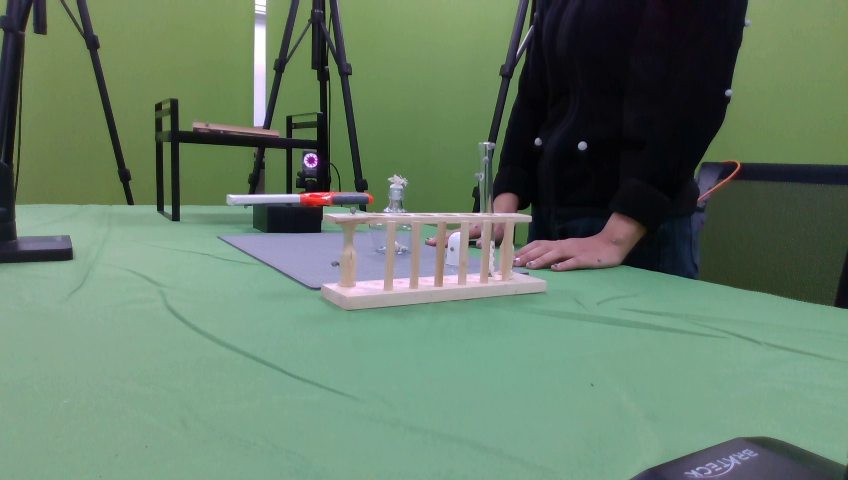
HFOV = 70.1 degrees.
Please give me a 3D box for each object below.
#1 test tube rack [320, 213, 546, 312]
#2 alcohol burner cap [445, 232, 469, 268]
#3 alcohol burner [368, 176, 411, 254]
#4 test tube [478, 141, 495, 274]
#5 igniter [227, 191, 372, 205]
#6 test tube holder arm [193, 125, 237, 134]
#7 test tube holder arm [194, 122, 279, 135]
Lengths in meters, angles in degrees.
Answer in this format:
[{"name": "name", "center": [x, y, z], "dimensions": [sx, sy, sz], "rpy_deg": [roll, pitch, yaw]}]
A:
[{"name": "test tube rack", "center": [0.018, 0.017, 0.638], "dimensions": [0.244, 0.085, 0.066], "rpy_deg": [-2, 9, -31]}, {"name": "alcohol burner cap", "center": [0.045, 0.013, 0.829], "dimensions": [0.034, 0.048, 0.034], "rpy_deg": [2, 8, 0]}, {"name": "alcohol burner", "center": [-0.045, -0.038, 0.913], "dimensions": [0.078, 0.119, 0.078], "rpy_deg": [4, 7, 0]}, {"name": "test tube", "center": [0.071, -0.036, 0.683], "dimensions": [0.017, 0.150, 0.017], "rpy_deg": [-2, 8, 1]}, {"name": "igniter", "center": [-0.232, -0.080, 1.162], "dimensions": [0.278, 0.025, 0.057], "rpy_deg": [-3, 12, -28]}, {"name": "test tube holder arm", "center": [-0.443, -0.235, 1.284], "dimensions": [0.088, 0.015, 0.010], "rpy_deg": [-2, -21, -28]}, {"name": "test tube holder arm", "center": [-0.401, -0.238, 1.301], "dimensions": [0.179, 0.015, 0.013], "rpy_deg": [-2, -21, -29]}]
